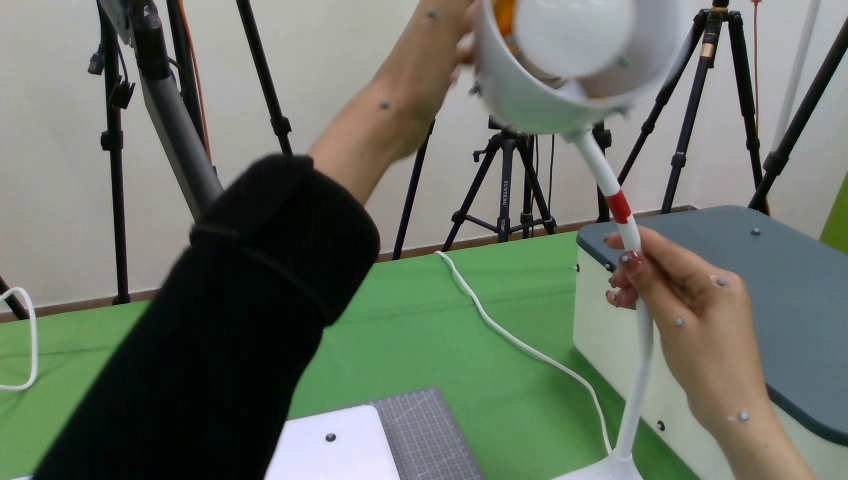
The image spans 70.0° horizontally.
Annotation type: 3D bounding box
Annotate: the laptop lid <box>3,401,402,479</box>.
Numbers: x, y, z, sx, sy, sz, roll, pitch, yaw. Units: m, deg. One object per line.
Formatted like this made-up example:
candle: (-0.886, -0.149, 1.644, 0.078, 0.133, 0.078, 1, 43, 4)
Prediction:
laptop lid: (-0.186, 0.246, 0.504, 0.358, 0.013, 0.239, -7, 30, -14)

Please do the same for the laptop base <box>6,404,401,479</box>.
laptop base: (-0.187, 0.256, 0.511, 0.355, 0.023, 0.233, -8, 31, -16)

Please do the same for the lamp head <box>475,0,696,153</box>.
lamp head: (0.082, -0.110, 0.361, 0.112, 0.112, 0.123, -4, -11, -7)

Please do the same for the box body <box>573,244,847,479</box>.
box body: (0.351, 0.115, 0.639, 0.255, 0.161, 0.360, -9, 28, -18)

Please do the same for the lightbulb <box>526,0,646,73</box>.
lightbulb: (0.083, -0.120, 0.335, 0.059, 0.059, 0.107, 0, 6, 1)

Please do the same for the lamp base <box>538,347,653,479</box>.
lamp base: (0.146, 0.184, 0.474, 0.160, 0.181, 0.178, 10, 25, 17)

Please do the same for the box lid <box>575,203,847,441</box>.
box lid: (0.350, 0.047, 0.606, 0.264, 0.015, 0.367, -8, 28, -18)
